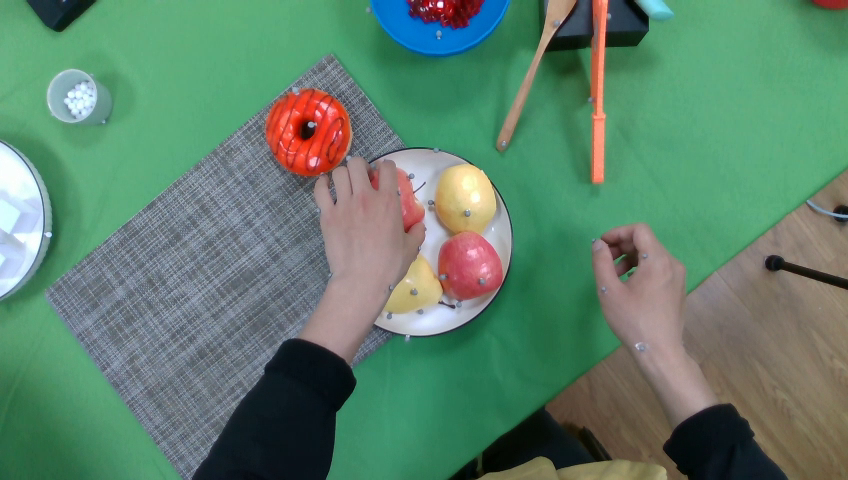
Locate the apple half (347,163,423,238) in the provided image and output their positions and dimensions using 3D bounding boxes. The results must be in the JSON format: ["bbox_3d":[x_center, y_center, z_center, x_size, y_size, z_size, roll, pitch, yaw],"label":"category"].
[{"bbox_3d":[-0.045,-0.039,0.654,0.074,0.053,0.081,-17,102,11],"label":"apple half"}]

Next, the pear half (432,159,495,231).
[{"bbox_3d":[0.038,-0.042,0.656,0.070,0.031,0.088,-4,104,29],"label":"pear half"}]

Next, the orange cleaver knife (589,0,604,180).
[{"bbox_3d":[0.181,-0.170,0.639,0.012,0.076,0.213,-2,116,10],"label":"orange cleaver knife"}]

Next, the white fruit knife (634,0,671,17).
[{"bbox_3d":[0.180,-0.308,0.621,0.027,0.016,0.207,-35,85,-25],"label":"white fruit knife"}]

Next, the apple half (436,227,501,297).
[{"bbox_3d":[0.040,0.027,0.652,0.081,0.033,0.081,7,105,26],"label":"apple half"}]

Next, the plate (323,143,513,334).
[{"bbox_3d":[-0.006,-0.002,0.674,0.209,0.038,0.209,0,91,4],"label":"plate"}]

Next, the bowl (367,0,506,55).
[{"bbox_3d":[0.016,-0.267,0.653,0.151,0.077,0.151,0,91,4],"label":"bowl"}]

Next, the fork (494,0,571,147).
[{"bbox_3d":[0.116,-0.194,0.641,0.028,0.018,0.208,20,112,-3],"label":"fork"}]

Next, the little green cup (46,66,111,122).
[{"bbox_3d":[-0.401,-0.167,0.708,0.061,0.038,0.061,0,90,5],"label":"little green cup"}]

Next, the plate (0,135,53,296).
[{"bbox_3d":[-0.536,-0.029,0.721,0.207,0.039,0.207,0,90,5],"label":"plate"}]

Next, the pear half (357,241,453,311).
[{"bbox_3d":[-0.016,0.047,0.662,0.110,0.056,0.076,24,98,-2],"label":"pear half"}]

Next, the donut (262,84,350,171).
[{"bbox_3d":[-0.132,-0.126,0.680,0.099,0.048,0.099,0,93,7],"label":"donut"}]
